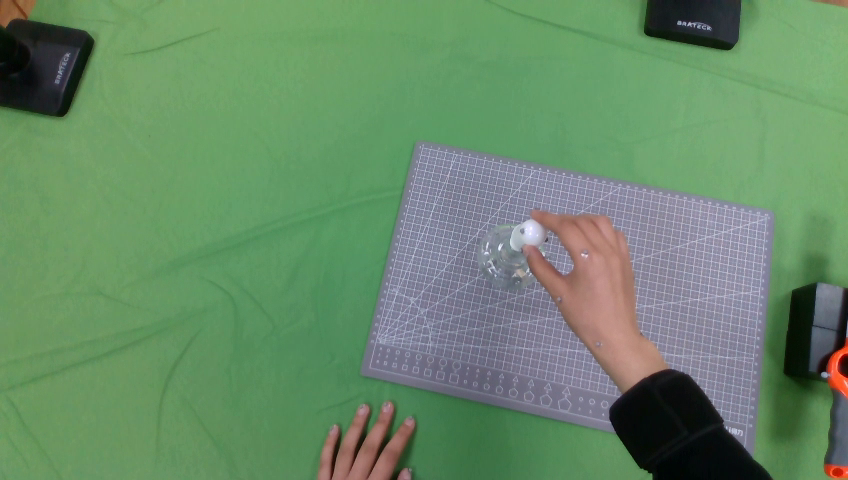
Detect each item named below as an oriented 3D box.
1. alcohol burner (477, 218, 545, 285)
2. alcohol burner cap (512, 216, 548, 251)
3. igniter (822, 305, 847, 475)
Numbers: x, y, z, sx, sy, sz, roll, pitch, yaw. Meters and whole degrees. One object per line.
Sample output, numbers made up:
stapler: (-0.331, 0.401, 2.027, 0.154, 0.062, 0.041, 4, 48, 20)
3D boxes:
alcohol burner: (0.099, 0.009, 0.673, 0.078, 0.119, 0.077, 0, 75, -2)
alcohol burner cap: (0.107, -0.008, 0.601, 0.034, 0.048, 0.034, 0, 82, 0)
igniter: (0.463, 0.113, 0.646, 0.057, 0.025, 0.275, 16, 75, 7)
